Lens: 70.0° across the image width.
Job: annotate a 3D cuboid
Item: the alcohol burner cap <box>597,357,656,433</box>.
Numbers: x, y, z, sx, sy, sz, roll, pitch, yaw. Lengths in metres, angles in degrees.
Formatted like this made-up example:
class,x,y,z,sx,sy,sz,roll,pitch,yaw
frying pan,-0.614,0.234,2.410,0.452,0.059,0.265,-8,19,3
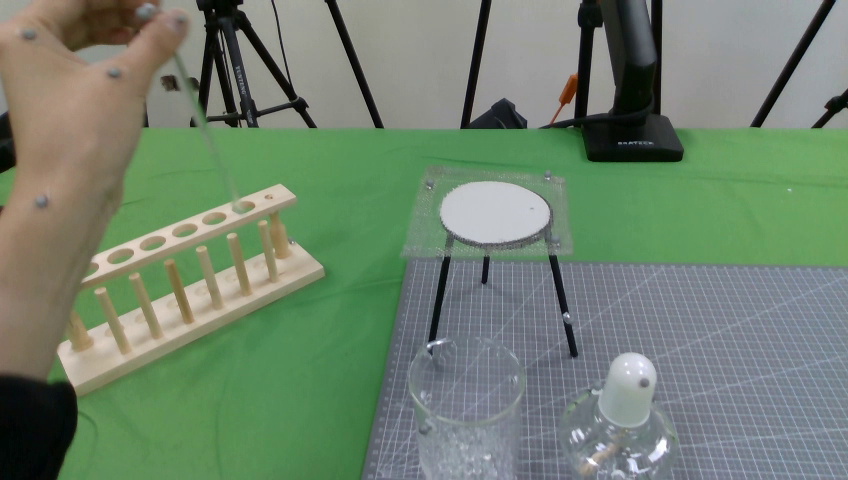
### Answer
class,x,y,z,sx,sy,sz,roll,pitch,yaw
alcohol burner cap,0.128,0.093,0.377,0.034,0.048,0.033,0,38,1

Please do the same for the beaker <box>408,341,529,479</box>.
class,x,y,z,sx,sy,sz,roll,pitch,yaw
beaker,0.027,0.128,0.412,0.074,0.101,0.083,-28,42,-30

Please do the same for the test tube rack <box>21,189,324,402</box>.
class,x,y,z,sx,sy,sz,roll,pitch,yaw
test tube rack,-0.221,0.043,0.567,0.242,0.086,0.066,-27,42,-29

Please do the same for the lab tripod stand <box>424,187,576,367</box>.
class,x,y,z,sx,sy,sz,roll,pitch,yaw
lab tripod stand,0.063,0.033,0.511,0.148,0.132,0.147,-1,35,1

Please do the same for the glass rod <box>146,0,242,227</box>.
class,x,y,z,sx,sy,sz,roll,pitch,yaw
glass rod,-0.132,-0.078,0.342,0.008,0.201,0.008,-1,47,2

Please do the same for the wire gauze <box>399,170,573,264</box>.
class,x,y,z,sx,sy,sz,roll,pitch,yaw
wire gauze,0.050,-0.020,0.470,0.121,0.011,0.124,3,37,7

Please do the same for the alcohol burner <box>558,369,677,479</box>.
class,x,y,z,sx,sy,sz,roll,pitch,yaw
alcohol burner,0.129,0.123,0.398,0.078,0.120,0.077,-2,38,2
